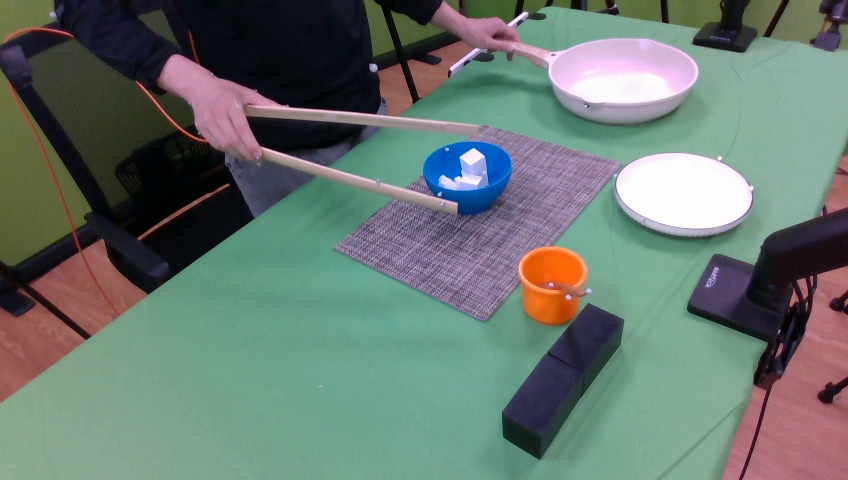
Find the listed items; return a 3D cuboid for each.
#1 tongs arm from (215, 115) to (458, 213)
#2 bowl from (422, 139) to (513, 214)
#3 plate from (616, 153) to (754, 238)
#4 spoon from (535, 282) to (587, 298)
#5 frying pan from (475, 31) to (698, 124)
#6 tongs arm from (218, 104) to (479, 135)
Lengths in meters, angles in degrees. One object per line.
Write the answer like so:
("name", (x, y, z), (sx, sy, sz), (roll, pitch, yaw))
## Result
("tongs arm", (-0.130, -0.110, 0.864), (0.384, 0.026, 0.050), (15, 66, 10))
("bowl", (0.075, -0.097, 1.021), (0.151, 0.077, 0.150), (-4, 41, 4))
("plate", (0.416, -0.069, 0.977), (0.207, 0.039, 0.206), (-4, 40, 4))
("spoon", (0.176, 0.063, 0.774), (0.041, 0.194, 0.021), (-3, 85, 0))
("frying pan", (0.320, -0.371, 1.290), (0.485, 0.103, 0.307), (28, 50, 23))
("tongs arm", (-0.111, -0.176, 0.898), (0.387, 0.028, 0.028), (5, 68, 4))
